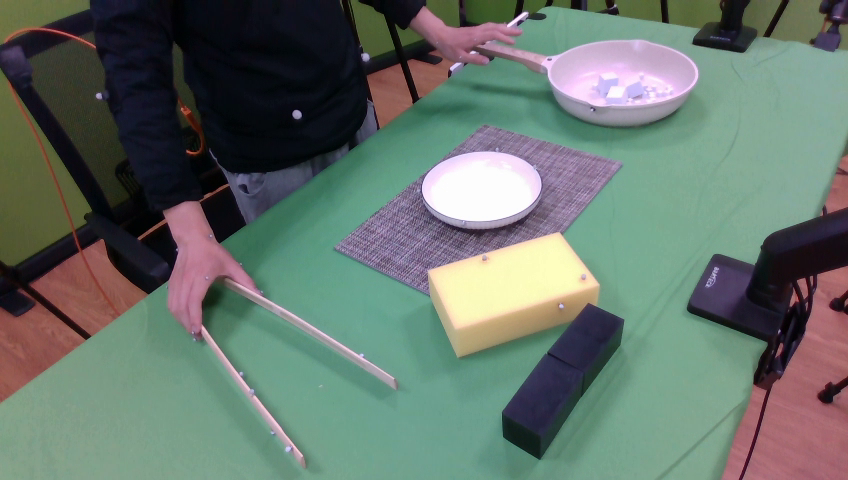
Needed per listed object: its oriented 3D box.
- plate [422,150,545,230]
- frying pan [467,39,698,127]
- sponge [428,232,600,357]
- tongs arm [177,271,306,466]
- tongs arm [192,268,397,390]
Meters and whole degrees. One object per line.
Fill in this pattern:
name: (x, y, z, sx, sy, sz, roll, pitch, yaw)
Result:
plate: (0.101, -0.082, 1.031, 0.207, 0.039, 0.206, -4, 40, 4)
frying pan: (0.312, -0.359, 1.277, 0.485, 0.103, 0.307, 23, 48, 19)
sponge: (0.120, 0.071, 0.834, 0.207, 0.061, 0.117, -15, 43, -12)
tongs arm: (-0.246, 0.154, 0.807, 0.051, 0.026, 0.381, -33, 48, -28)
tongs arm: (-0.192, 0.116, 0.848, 0.384, 0.028, 0.028, 23, 52, 28)
